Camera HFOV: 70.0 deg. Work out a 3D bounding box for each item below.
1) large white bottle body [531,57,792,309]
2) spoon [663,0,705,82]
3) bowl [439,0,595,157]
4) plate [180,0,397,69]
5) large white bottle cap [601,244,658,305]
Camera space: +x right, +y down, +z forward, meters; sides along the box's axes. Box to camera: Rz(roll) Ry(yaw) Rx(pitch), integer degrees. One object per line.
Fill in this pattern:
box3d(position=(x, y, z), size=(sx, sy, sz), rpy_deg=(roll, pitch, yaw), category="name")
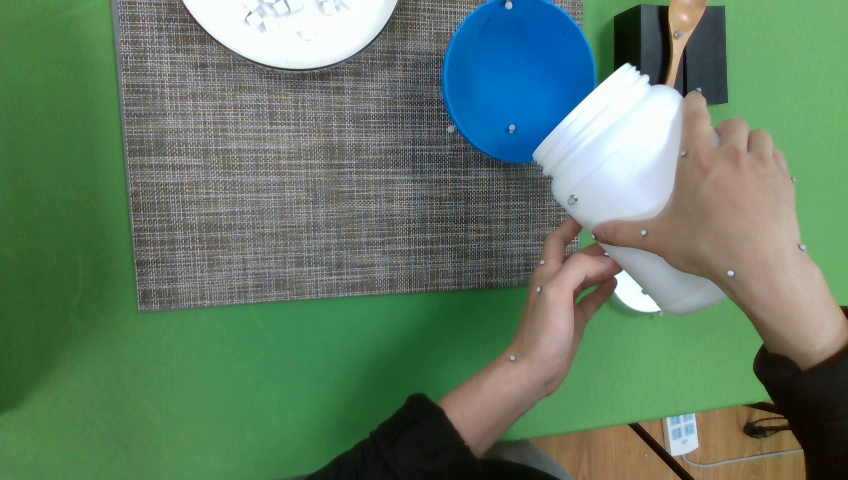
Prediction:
box3d(position=(0.191, -0.049, 0.510), size=(0.130, 0.131, 0.184), rpy_deg=(-42, 86, -7), category="large white bottle body")
box3d(position=(0.247, -0.173, 0.616), size=(0.042, 0.021, 0.194), rpy_deg=(9, 99, -18), category="spoon")
box3d(position=(0.079, -0.155, 0.587), size=(0.152, 0.076, 0.151), rpy_deg=(-2, 97, -14), category="bowl")
box3d(position=(-0.123, -0.256, 0.544), size=(0.210, 0.038, 0.209), rpy_deg=(-1, 94, -15), category="plate")
box3d(position=(0.255, 0.017, 0.688), size=(0.115, 0.018, 0.115), rpy_deg=(-2, 97, -15), category="large white bottle cap")
